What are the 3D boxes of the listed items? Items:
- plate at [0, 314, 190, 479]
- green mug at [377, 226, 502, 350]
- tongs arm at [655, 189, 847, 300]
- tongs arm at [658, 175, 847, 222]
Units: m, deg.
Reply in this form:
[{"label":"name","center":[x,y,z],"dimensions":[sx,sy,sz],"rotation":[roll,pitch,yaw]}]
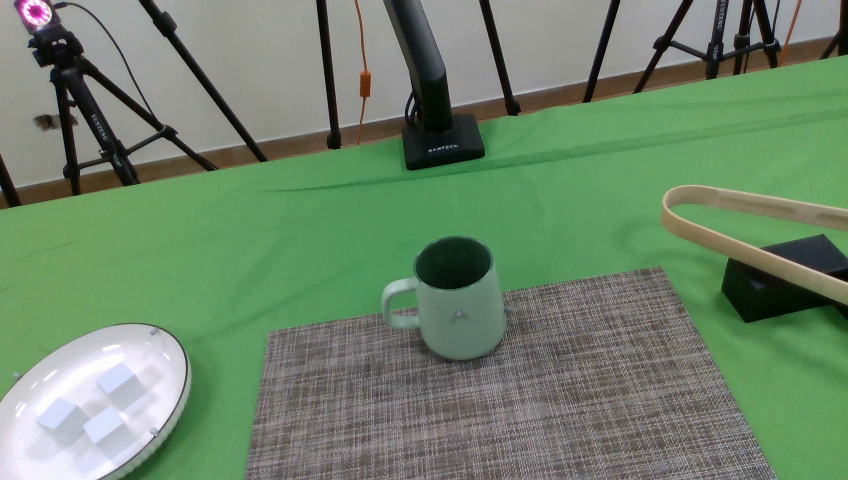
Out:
[{"label":"plate","center":[-0.342,0.166,0.626],"dimensions":[0.209,0.038,0.207],"rotation":[-6,42,6]},{"label":"green mug","center":[0.015,0.053,0.615],"dimensions":[0.125,0.106,0.091],"rotation":[-10,42,1]},{"label":"tongs arm","center":[0.382,0.037,0.547],"dimensions":[0.384,0.028,0.028],"rotation":[29,63,36]},{"label":"tongs arm","center":[0.428,-0.013,0.587],"dimensions":[0.382,0.027,0.050],"rotation":[18,53,29]}]
